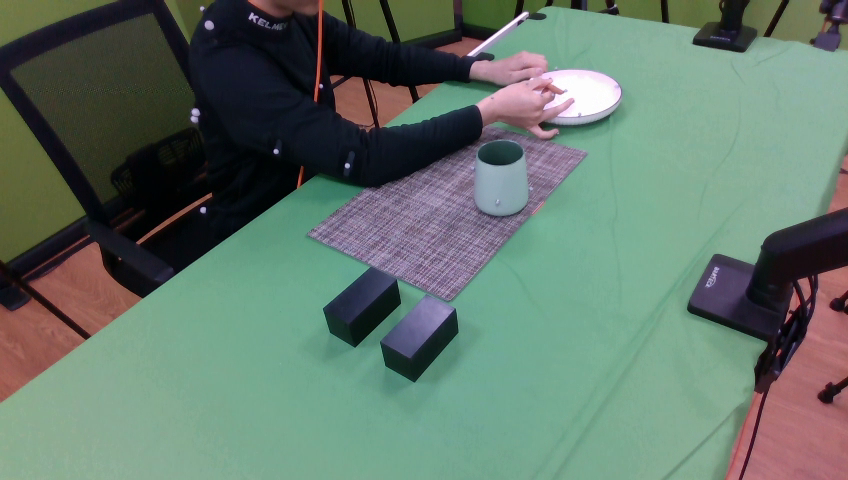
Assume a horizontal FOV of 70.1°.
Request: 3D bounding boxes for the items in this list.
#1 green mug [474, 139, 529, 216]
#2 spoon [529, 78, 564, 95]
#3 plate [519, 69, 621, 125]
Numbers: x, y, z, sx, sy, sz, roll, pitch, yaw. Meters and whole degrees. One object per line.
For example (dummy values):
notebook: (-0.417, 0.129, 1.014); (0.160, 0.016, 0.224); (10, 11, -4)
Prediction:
green mug: (0.126, -0.113, 1.013); (0.092, 0.105, 0.124); (-8, 41, 0)
spoon: (0.245, -0.306, 1.203); (0.041, 0.022, 0.193); (-11, 18, 0)
plate: (0.300, -0.293, 1.253); (0.209, 0.038, 0.208); (-4, 41, 4)
